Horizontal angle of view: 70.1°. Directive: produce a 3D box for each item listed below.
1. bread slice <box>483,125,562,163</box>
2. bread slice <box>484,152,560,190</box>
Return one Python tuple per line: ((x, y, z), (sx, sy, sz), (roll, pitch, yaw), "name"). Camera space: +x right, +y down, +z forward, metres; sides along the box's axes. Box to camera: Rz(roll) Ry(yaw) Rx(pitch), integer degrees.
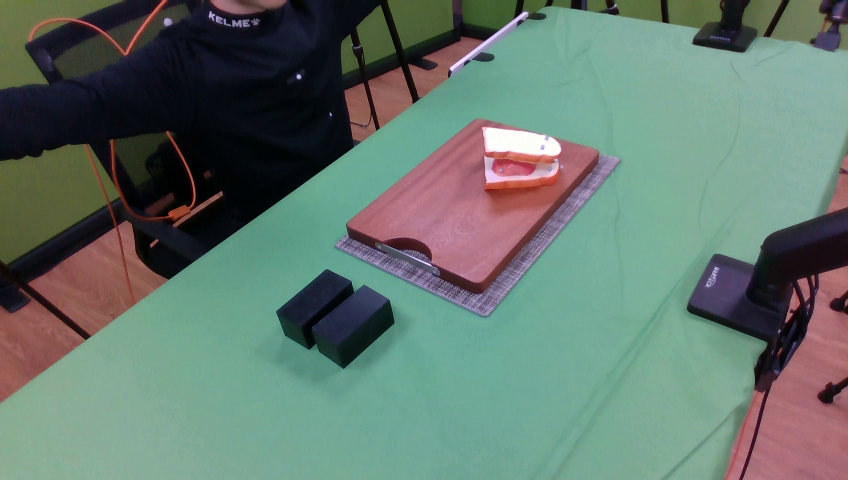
((0.165, -0.162, 1.024), (0.134, 0.018, 0.106), (6, 33, -6), "bread slice")
((0.170, -0.128, 1.054), (0.131, 0.019, 0.104), (-4, 43, 5), "bread slice")
